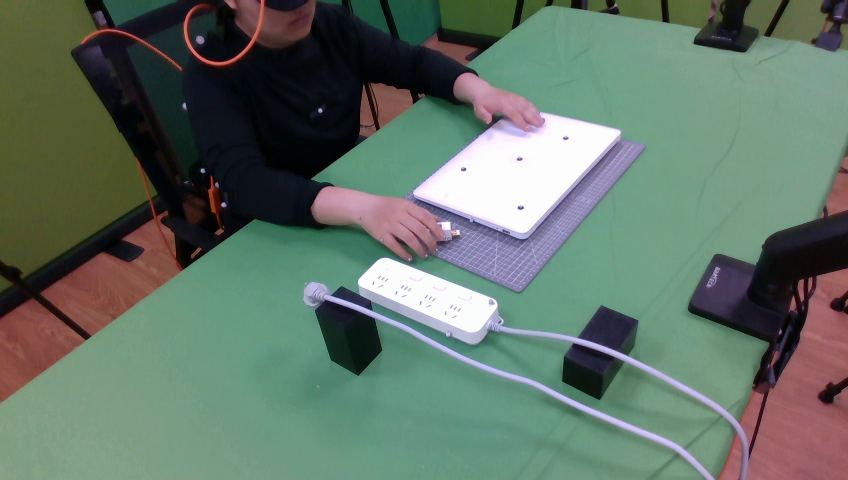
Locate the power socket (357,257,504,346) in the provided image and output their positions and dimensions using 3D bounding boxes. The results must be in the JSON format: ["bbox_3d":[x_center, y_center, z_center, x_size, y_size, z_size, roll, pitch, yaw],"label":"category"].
[{"bbox_3d":[0.003,0.084,0.862,0.225,0.033,0.072,20,49,28],"label":"power socket"}]

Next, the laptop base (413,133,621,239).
[{"bbox_3d":[0.176,-0.134,1.101,0.233,0.023,0.355,21,48,33],"label":"laptop base"}]

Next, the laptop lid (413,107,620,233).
[{"bbox_3d":[0.173,-0.144,1.095,0.239,0.013,0.358,23,49,33],"label":"laptop lid"}]

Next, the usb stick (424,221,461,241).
[{"bbox_3d":[0.029,-0.015,0.973,0.059,0.027,0.021,0,46,0],"label":"usb stick"}]

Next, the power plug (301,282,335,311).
[{"bbox_3d":[-0.134,0.081,0.783,0.035,0.053,0.072,-42,47,-7],"label":"power plug"}]
